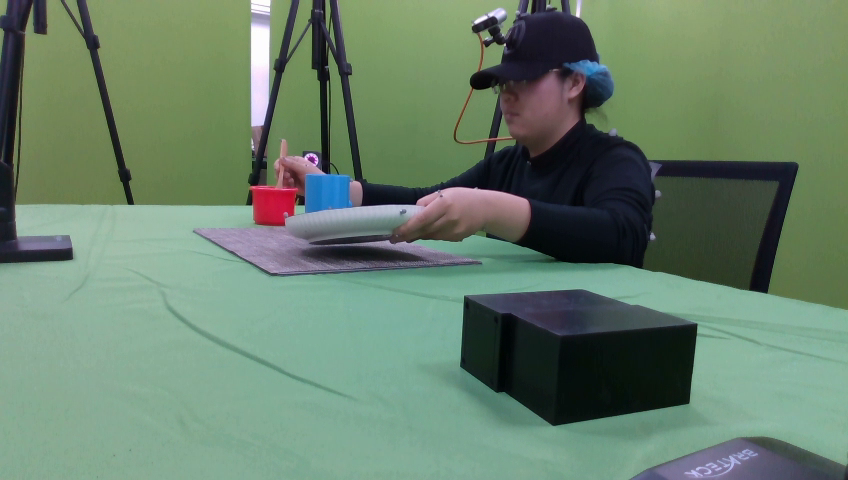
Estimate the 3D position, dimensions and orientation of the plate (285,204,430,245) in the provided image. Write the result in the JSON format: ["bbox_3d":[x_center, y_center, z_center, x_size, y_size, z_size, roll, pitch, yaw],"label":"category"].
[{"bbox_3d":[-0.093,-0.018,0.867,0.208,0.039,0.207,-5,-3,0],"label":"plate"}]

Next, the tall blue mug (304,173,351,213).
[{"bbox_3d":[-0.178,-0.062,1.062,0.078,0.108,0.106,-4,10,-38],"label":"tall blue mug"}]

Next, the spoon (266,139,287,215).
[{"bbox_3d":[-0.301,-0.134,1.267,0.042,0.193,0.021,12,-28,-21],"label":"spoon"}]
